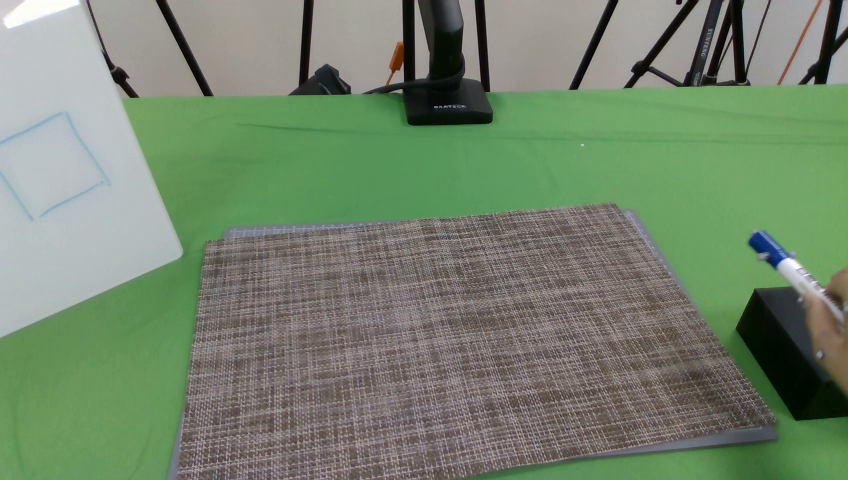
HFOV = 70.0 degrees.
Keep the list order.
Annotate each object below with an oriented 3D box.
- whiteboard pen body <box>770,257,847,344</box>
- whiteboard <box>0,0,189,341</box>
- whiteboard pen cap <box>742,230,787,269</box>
[{"bbox_3d":[0.289,0.049,0.436,0.017,0.017,0.139,-13,47,-18],"label":"whiteboard pen body"},{"bbox_3d":[-0.386,-0.089,0.533,0.217,0.308,0.142,-29,29,-32],"label":"whiteboard"},{"bbox_3d":[0.268,0.008,0.474,0.018,0.018,0.033,-14,46,-18],"label":"whiteboard pen cap"}]
